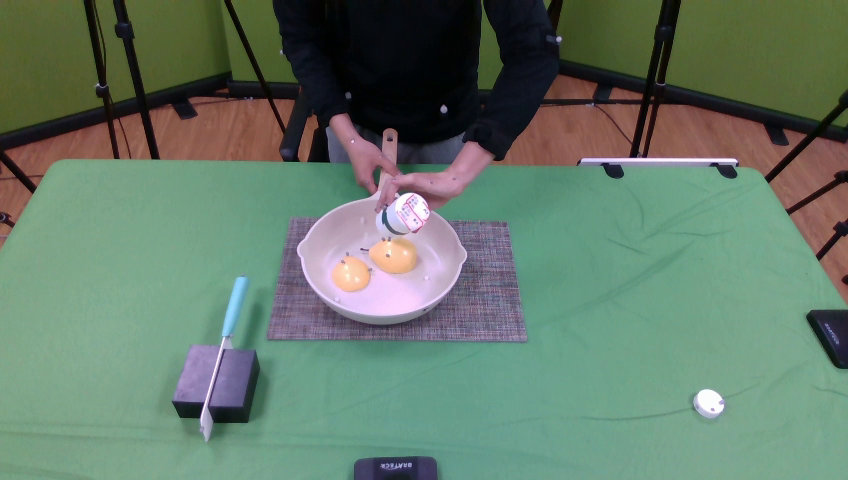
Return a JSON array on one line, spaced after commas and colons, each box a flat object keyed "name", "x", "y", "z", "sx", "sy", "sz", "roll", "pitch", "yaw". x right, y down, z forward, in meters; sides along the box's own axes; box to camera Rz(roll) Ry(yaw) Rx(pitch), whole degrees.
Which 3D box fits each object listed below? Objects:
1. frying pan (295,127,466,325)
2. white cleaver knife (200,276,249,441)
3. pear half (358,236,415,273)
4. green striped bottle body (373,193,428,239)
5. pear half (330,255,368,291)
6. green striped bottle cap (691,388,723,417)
[{"name": "frying pan", "x": -0.076, "y": -0.045, "z": 1.172, "sx": 0.307, "sy": 0.103, "sz": 0.485, "roll": 3, "pitch": 55, "yaw": -2}, {"name": "white cleaver knife", "x": -0.321, "y": 0.177, "z": 0.972, "sx": 0.021, "sy": 0.066, "sz": 0.284, "roll": 7, "pitch": 48, "yaw": -5}, {"name": "pear half", "x": -0.074, "y": 0.017, "z": 1.146, "sx": 0.110, "sy": 0.056, "sz": 0.076, "roll": 10, "pitch": 41, "yaw": 7}, {"name": "green striped bottle body", "x": -0.046, "y": -0.039, "z": 1.051, "sx": 0.063, "sy": 0.119, "sz": 0.063, "roll": 5, "pitch": 79, "yaw": -26}, {"name": "pear half", "x": -0.139, "y": 0.053, "z": 1.121, "sx": 0.070, "sy": 0.031, "sz": 0.087, "roll": -7, "pitch": 51, "yaw": -17}, {"name": "green striped bottle cap", "x": 0.460, "y": 0.263, "z": 0.984, "sx": 0.044, "sy": 0.020, "sz": 0.044, "roll": 3, "pitch": 47, "yaw": -3}]
